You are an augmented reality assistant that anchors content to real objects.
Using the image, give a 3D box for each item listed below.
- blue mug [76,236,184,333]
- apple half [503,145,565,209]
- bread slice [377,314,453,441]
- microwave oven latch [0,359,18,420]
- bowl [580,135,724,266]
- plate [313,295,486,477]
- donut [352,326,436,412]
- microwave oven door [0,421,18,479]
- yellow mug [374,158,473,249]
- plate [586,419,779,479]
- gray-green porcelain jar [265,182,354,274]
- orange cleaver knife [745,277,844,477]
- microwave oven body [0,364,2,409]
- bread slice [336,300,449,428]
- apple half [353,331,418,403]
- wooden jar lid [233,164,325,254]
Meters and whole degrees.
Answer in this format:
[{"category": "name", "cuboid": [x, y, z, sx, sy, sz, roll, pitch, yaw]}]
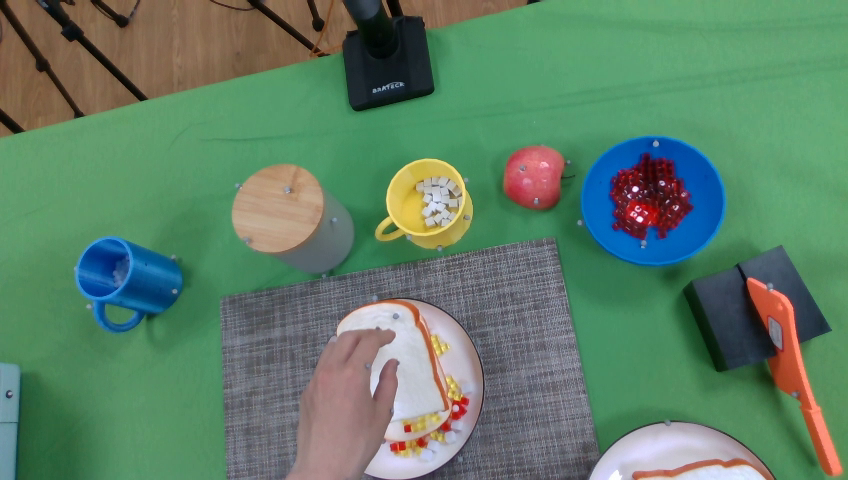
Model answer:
[{"category": "blue mug", "cuboid": [-0.386, 0.064, 0.792, 0.082, 0.106, 0.116, 10, 78, 14]}, {"category": "apple half", "cuboid": [0.135, -0.083, 0.749, 0.074, 0.054, 0.080, 11, 78, 17]}, {"category": "bread slice", "cuboid": [-0.024, 0.167, 0.721, 0.107, 0.018, 0.133, -28, 74, 5]}, {"category": "microwave oven latch", "cuboid": [-0.566, 0.200, 0.809, 0.030, 0.030, 0.078, -7, 75, 10]}, {"category": "bowl", "cuboid": [0.256, -0.036, 0.697, 0.151, 0.077, 0.150, -3, 75, 12]}, {"category": "plate", "cuboid": [-0.028, 0.171, 0.721, 0.207, 0.039, 0.206, -3, 75, 11]}, {"category": "donut", "cuboid": [-0.035, 0.148, 0.698, 0.099, 0.048, 0.098, -3, 75, 10]}, {"category": "microwave oven door", "cuboid": [-0.560, 0.382, 0.653, 0.039, 0.245, 0.353, -11, 73, 10]}, {"category": "yellow mug", "cuboid": [-0.006, -0.036, 0.759, 0.131, 0.064, 0.099, -32, 71, 3]}, {"category": "plate", "cuboid": [0.269, 0.293, 0.630, 0.209, 0.038, 0.208, -3, 75, 12]}, {"category": "gray-green porcelain jar", "cuboid": [-0.150, -0.018, 0.753, 0.105, 0.127, 0.105, -3, 74, 11]}, {"category": "orange cleaver knife", "cuboid": [0.378, 0.138, 0.624, 0.012, 0.077, 0.211, -21, 94, -1]}, {"category": "microwave oven body", "cuboid": [-0.706, 0.370, 0.693, 0.326, 0.262, 0.439, -10, 74, 9]}, {"category": "bread slice", "cuboid": [-0.041, 0.130, 0.640, 0.105, 0.019, 0.131, -15, 93, 8]}, {"category": "apple half", "cuboid": [-0.045, 0.138, 0.665, 0.081, 0.033, 0.081, -5, 72, 16]}, {"category": "wooden jar lid", "cuboid": [-0.164, -0.034, 0.693, 0.108, 0.021, 0.107, -3, 73, 9]}]
